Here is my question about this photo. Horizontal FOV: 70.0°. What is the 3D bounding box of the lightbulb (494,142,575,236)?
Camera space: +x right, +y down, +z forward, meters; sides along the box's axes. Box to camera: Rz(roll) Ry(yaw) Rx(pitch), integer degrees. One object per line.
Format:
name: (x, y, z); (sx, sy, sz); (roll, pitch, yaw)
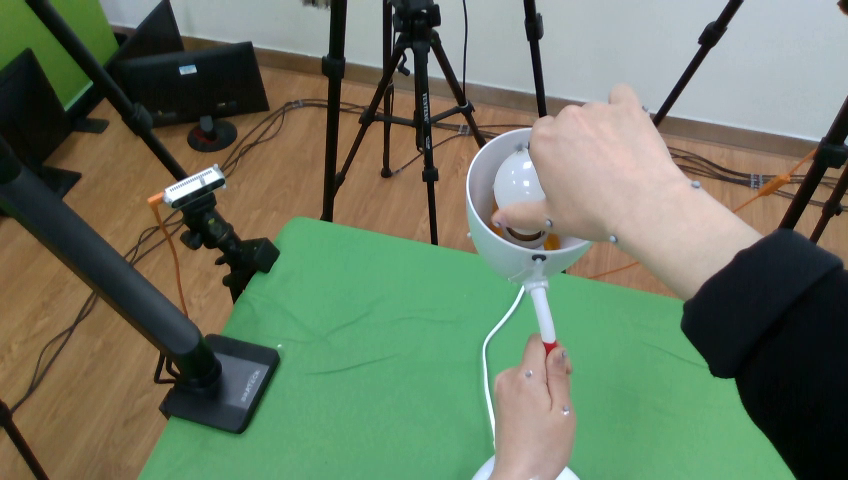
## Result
lightbulb: (0.082, -0.032, 0.471); (0.059, 0.108, 0.059); (-1, 65, 2)

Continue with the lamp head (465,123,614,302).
lamp head: (0.086, -0.013, 0.496); (0.112, 0.124, 0.111); (0, 58, 0)

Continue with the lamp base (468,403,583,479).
lamp base: (0.115, 0.263, 0.646); (0.161, 0.182, 0.177); (-21, 52, -16)
